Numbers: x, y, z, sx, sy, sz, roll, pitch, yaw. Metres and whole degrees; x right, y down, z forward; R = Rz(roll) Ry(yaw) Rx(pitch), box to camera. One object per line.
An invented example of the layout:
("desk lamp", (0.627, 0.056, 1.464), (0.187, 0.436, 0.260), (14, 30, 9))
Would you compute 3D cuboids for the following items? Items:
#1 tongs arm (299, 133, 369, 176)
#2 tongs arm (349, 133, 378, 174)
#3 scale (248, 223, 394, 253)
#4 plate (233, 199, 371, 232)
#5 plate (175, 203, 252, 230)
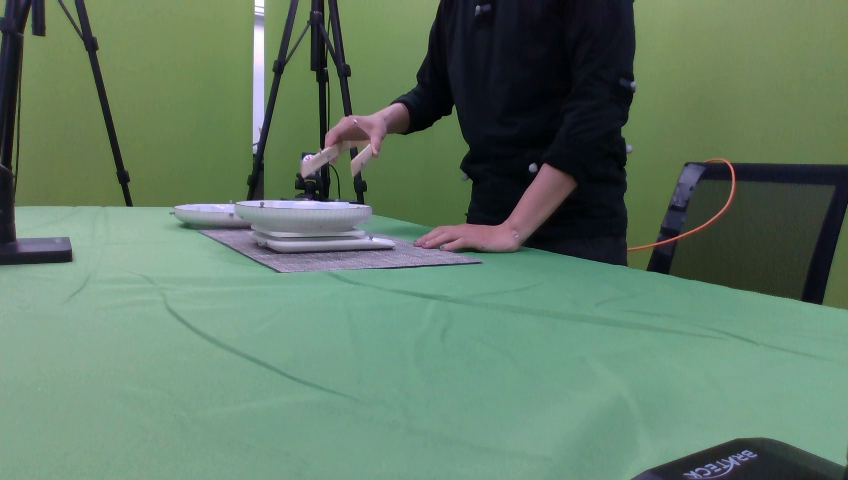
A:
("tongs arm", (-0.160, -0.168, 1.148), (0.051, 0.026, 0.384), (-4, 16, 5))
("tongs arm", (-0.114, -0.170, 1.144), (0.028, 0.028, 0.387), (-8, 16, 4))
("scale", (-0.162, -0.006, 0.954), (0.202, 0.031, 0.148), (-2, 8, -32))
("plate", (-0.188, -0.039, 0.939), (0.209, 0.038, 0.209), (3, 7, 0))
("plate", (-0.381, -0.047, 1.199), (0.208, 0.039, 0.207), (3, 7, 0))
